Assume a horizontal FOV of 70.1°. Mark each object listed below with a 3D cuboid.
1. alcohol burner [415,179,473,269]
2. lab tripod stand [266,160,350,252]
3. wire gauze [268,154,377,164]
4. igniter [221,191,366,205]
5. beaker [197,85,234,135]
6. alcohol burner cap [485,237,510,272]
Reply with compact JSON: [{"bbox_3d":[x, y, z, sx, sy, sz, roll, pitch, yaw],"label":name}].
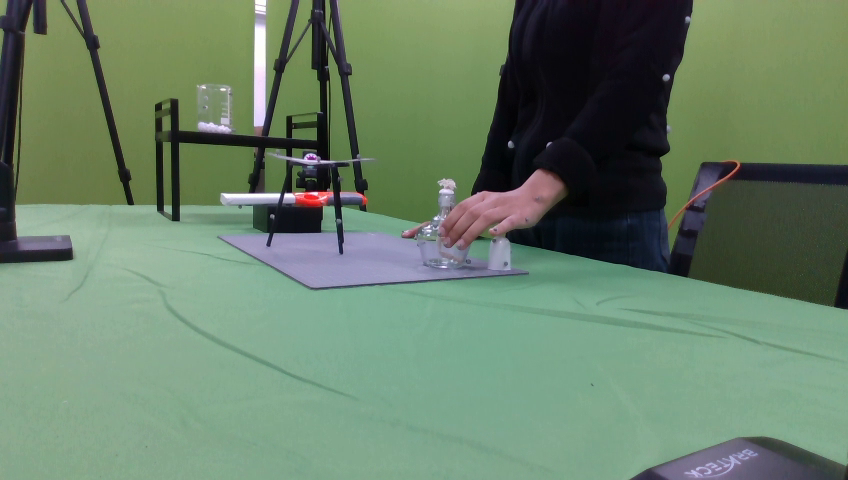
[{"bbox_3d":[0.028,-0.021,0.808,0.078,0.119,0.078,3,5,0],"label":"alcohol burner"},{"bbox_3d":[-0.163,-0.054,0.914,0.148,0.131,0.148,2,9,0],"label":"lab tripod stand"},{"bbox_3d":[-0.154,-0.120,0.910,0.122,0.011,0.124,-5,11,-44],"label":"wire gauze"},{"bbox_3d":[-0.240,-0.079,1.150,0.278,0.025,0.057,-3,20,-32],"label":"igniter"},{"bbox_3d":[-0.445,-0.275,1.283,0.074,0.100,0.084,5,8,22],"label":"beaker"},{"bbox_3d":[0.099,0.020,0.802,0.034,0.048,0.034,4,2,0],"label":"alcohol burner cap"}]
